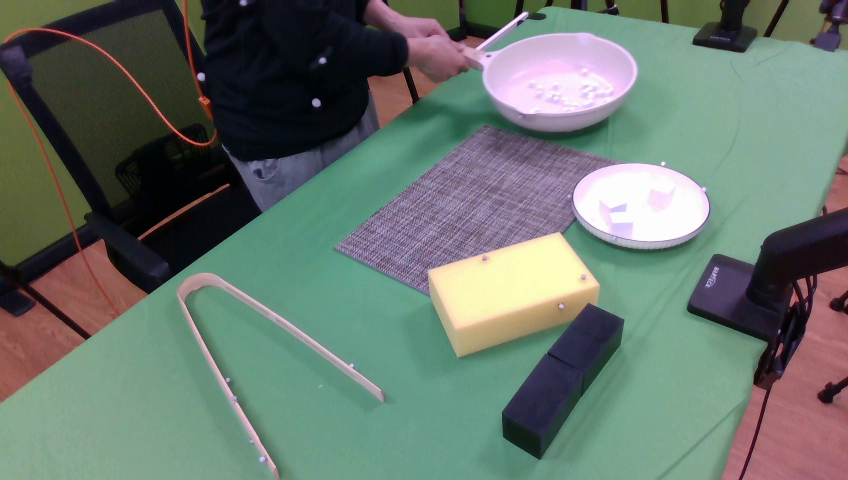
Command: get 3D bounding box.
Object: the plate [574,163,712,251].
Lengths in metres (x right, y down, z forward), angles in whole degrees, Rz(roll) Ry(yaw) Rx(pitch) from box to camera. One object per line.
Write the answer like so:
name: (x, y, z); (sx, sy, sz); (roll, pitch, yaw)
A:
plate: (0.345, -0.050, 0.966); (0.207, 0.039, 0.206); (-4, 40, 4)

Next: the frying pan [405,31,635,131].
frying pan: (0.173, -0.351, 1.228); (0.485, 0.103, 0.307); (25, 53, 19)

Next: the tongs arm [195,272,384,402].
tongs arm: (-0.199, 0.125, 0.847); (0.384, 0.028, 0.028); (25, 53, 32)

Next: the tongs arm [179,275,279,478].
tongs arm: (-0.260, 0.161, 0.807); (0.051, 0.026, 0.381); (-29, 44, -25)

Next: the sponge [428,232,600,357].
sponge: (0.120, 0.071, 0.834); (0.207, 0.061, 0.117); (-15, 43, -12)
